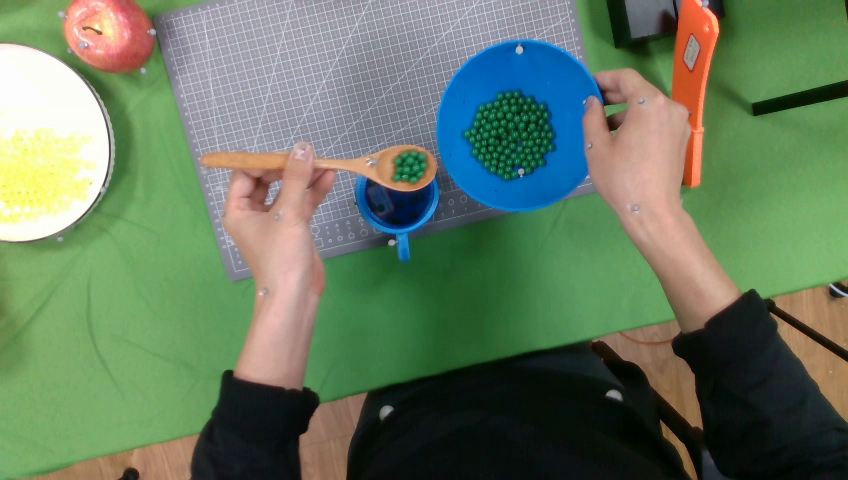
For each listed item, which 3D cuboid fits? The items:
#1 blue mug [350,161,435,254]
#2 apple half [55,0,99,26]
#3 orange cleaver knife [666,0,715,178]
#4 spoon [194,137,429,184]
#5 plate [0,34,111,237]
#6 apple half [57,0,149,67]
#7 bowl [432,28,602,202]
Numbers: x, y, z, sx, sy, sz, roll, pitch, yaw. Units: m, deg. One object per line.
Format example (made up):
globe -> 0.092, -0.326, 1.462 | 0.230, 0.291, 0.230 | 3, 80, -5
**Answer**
blue mug -> -0.030, -0.044, 0.635 | 0.082, 0.105, 0.117 | -6, 97, -2
apple half -> -0.338, -0.240, 0.613 | 0.081, 0.081, 0.033 | -29, 102, 1
orange cleaver knife -> 0.279, -0.166, 0.648 | 0.012, 0.076, 0.213 | -15, 128, -2
spoon -> -0.088, -0.070, 0.507 | 0.195, 0.021, 0.041 | 0, 96, -24
plate -> -0.436, -0.108, 0.643 | 0.209, 0.038, 0.209 | 0, 97, -2
apple half -> -0.319, -0.206, 0.620 | 0.081, 0.074, 0.053 | -29, 101, -3
bowl -> 0.089, -0.113, 0.568 | 0.151, 0.077, 0.151 | 2, 100, 14
